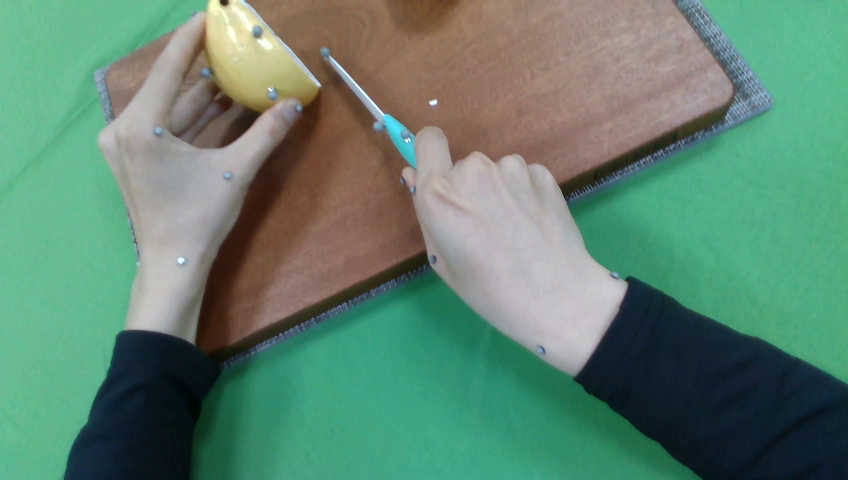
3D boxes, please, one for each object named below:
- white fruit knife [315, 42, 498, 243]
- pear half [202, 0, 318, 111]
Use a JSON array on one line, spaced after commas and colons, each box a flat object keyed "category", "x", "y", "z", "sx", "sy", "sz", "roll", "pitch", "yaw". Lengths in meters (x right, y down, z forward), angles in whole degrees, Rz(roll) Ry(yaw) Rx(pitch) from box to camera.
[{"category": "white fruit knife", "x": -0.020, "y": -0.074, "z": 0.394, "sx": 0.016, "sy": 0.028, "sz": 0.205, "roll": -37, "pitch": 61, "yaw": -6}, {"category": "pear half", "x": -0.120, "y": -0.126, "z": 0.396, "sx": 0.056, "sy": 0.111, "sz": 0.075, "roll": -45, "pitch": 63, "yaw": -2}]
